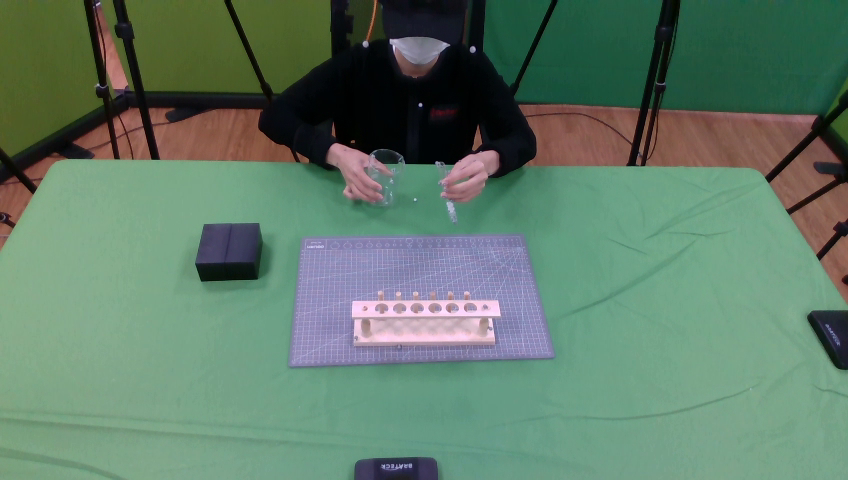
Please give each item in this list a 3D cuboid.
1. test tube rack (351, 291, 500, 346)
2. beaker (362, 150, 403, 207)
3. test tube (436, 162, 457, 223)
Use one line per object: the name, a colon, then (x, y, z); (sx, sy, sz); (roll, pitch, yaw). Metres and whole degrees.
test tube rack: (0.001, 0.129, 1.026); (0.242, 0.085, 0.066); (0, 46, -4)
beaker: (-0.085, -0.125, 1.242); (0.084, 0.100, 0.073); (-29, 63, -34)
test tube: (0.042, -0.084, 1.115); (0.017, 0.151, 0.017); (-8, 48, 9)
